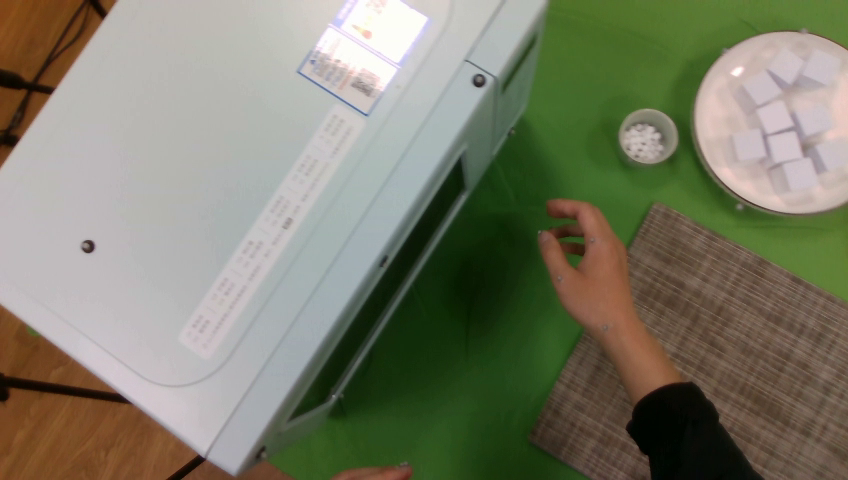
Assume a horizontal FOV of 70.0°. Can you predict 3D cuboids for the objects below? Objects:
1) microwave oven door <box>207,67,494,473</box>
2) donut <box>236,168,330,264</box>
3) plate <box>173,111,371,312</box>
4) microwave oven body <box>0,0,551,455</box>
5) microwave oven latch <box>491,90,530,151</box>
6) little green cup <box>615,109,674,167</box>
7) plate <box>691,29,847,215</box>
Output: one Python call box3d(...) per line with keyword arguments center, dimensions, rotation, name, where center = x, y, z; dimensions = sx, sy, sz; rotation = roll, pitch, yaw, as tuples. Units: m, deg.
box3d(center=(-0.045, 0.032, 0.565), dimensions=(0.039, 0.244, 0.355), rotation=(33, 86, 9), name="microwave oven door")
box3d(center=(-0.144, -0.025, 0.623), dimensions=(0.099, 0.048, 0.099), rotation=(0, 88, 5), name="donut")
box3d(center=(-0.156, -0.029, 0.637), dimensions=(0.209, 0.038, 0.208), rotation=(0, 86, 4), name="plate")
box3d(center=(-0.142, -0.081, 0.591), dimensions=(0.325, 0.261, 0.441), rotation=(33, 87, 7), name="microwave oven body")
box3d(center=(0.086, -0.138, 0.677), dimensions=(0.030, 0.029, 0.079), rotation=(37, 88, 8), name="microwave oven latch")
box3d(center=(0.244, -0.111, 0.679), dimensions=(0.061, 0.039, 0.061), rotation=(-1, 84, 5), name="little green cup")
box3d(center=(0.400, -0.128, 0.670), dimensions=(0.207, 0.039, 0.207), rotation=(-1, 83, 5), name="plate")
